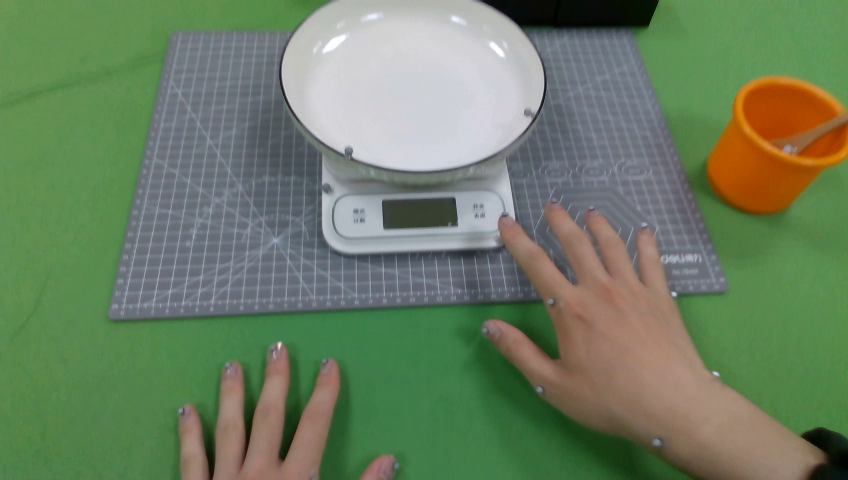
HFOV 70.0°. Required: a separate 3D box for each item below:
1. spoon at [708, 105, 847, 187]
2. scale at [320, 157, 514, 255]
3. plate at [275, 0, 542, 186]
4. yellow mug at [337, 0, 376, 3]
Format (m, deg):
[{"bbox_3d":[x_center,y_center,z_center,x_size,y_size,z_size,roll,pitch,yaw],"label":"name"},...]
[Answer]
[{"bbox_3d":[0.316,-0.092,0.461,0.022,0.193,0.041,23,49,-44],"label":"spoon"},{"bbox_3d":[-0.011,-0.080,0.499,0.149,0.032,0.199,-3,58,-5],"label":"scale"},{"bbox_3d":[-0.012,-0.122,0.487,0.209,0.038,0.207,2,57,-3],"label":"plate"},{"bbox_3d":[-0.060,-0.294,0.617,0.130,0.064,0.100,38,63,19],"label":"yellow mug"}]
